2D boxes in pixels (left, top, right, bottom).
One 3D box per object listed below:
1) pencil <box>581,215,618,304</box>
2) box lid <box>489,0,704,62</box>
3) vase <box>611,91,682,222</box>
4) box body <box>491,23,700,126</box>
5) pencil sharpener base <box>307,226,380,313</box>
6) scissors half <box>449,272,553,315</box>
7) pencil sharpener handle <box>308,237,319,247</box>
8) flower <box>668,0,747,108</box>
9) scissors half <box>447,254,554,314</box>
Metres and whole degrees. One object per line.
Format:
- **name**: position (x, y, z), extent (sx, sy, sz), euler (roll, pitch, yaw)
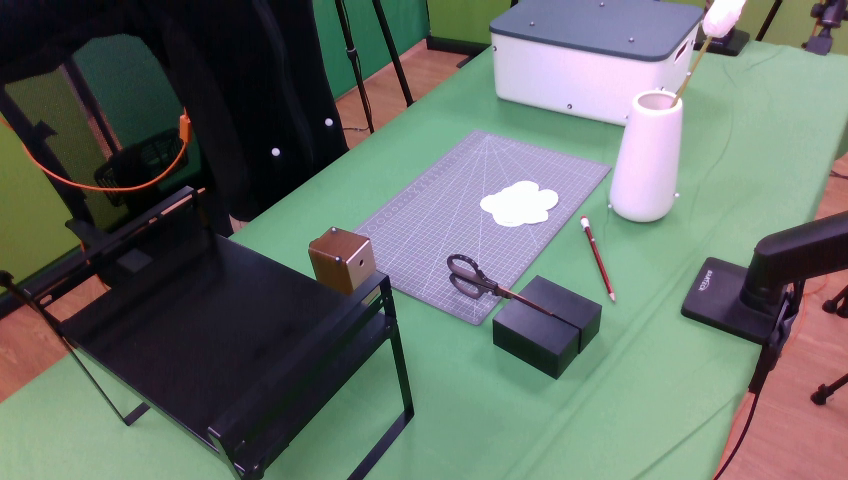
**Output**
- **pencil**: position (0.266, 0.026, 0.917), extent (0.012, 0.012, 0.193), euler (-6, 42, 1)
- **box lid**: position (0.345, -0.440, 1.218), extent (0.369, 0.015, 0.264), euler (21, 48, 29)
- **vase**: position (0.348, -0.125, 0.935), extent (0.098, 0.201, 0.097), euler (-3, 40, 3)
- **box body**: position (0.351, -0.384, 1.267), extent (0.361, 0.161, 0.255), euler (21, 48, 29)
- **pencil sharpener base**: position (-0.116, 0.043, 0.875), extent (0.076, 0.107, 0.061), euler (18, 47, 27)
- **scissors half**: position (0.104, 0.076, 0.834), extent (0.173, 0.040, 0.013), euler (15, 49, 42)
- **pencil sharpener handle**: position (-0.158, 0.017, 0.892), extent (0.030, 0.068, 0.036), euler (18, 61, 28)
- **flower**: position (0.355, -0.187, 0.879), extent (0.038, 0.362, 0.044), euler (30, 48, 14)
- **scissors half**: position (0.101, 0.060, 0.821), extent (0.174, 0.040, 0.013), euler (28, 51, 29)
